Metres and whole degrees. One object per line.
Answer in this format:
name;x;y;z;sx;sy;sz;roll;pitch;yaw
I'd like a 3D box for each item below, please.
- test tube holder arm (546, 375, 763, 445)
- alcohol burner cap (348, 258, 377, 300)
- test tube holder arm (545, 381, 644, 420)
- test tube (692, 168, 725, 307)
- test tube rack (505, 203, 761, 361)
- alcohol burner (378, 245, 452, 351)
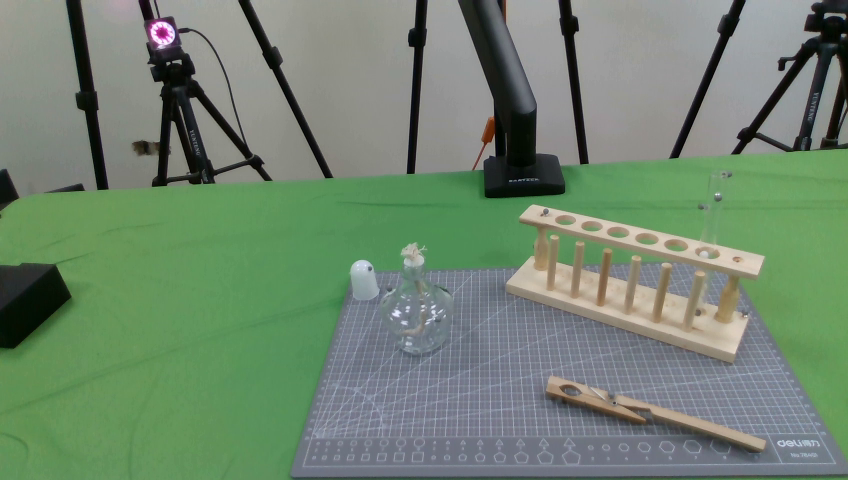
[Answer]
test tube holder arm;0.194;0.146;0.525;0.177;0.015;0.013;10;69;23
alcohol burner cap;-0.073;0.043;0.712;0.034;0.048;0.033;-3;33;2
test tube holder arm;0.151;0.143;0.540;0.087;0.015;0.010;11;69;23
test tube;0.272;0.002;0.586;0.017;0.151;0.017;-4;29;3
test tube rack;0.206;0.036;0.637;0.240;0.086;0.066;16;39;31
alcohol burner;-0.010;0.054;0.616;0.078;0.120;0.077;-3;34;2
